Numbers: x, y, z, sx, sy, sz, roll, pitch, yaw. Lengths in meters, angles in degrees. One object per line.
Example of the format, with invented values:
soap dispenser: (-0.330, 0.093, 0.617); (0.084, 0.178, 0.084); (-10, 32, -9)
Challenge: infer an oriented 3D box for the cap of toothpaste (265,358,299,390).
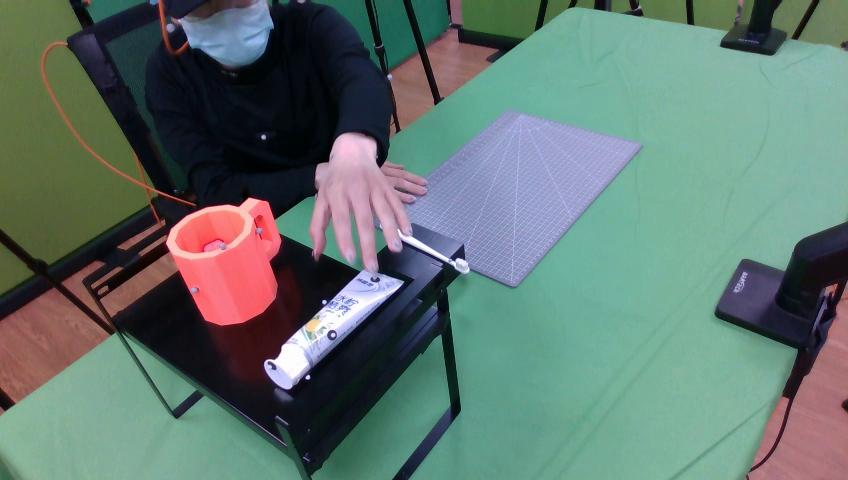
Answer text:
cap of toothpaste: (-0.131, 0.122, 0.557); (0.037, 0.037, 0.011); (18, 42, 26)

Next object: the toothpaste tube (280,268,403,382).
toothpaste tube: (-0.087, 0.081, 0.609); (0.054, 0.034, 0.165); (21, 43, 24)

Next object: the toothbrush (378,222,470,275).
toothbrush: (-0.004, 0.008, 0.894); (0.180, 0.017, 0.014); (27, 54, 34)

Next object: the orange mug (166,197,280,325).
orange mug: (-0.203, 0.014, 0.650); (0.083, 0.101, 0.126); (12, 48, 22)
